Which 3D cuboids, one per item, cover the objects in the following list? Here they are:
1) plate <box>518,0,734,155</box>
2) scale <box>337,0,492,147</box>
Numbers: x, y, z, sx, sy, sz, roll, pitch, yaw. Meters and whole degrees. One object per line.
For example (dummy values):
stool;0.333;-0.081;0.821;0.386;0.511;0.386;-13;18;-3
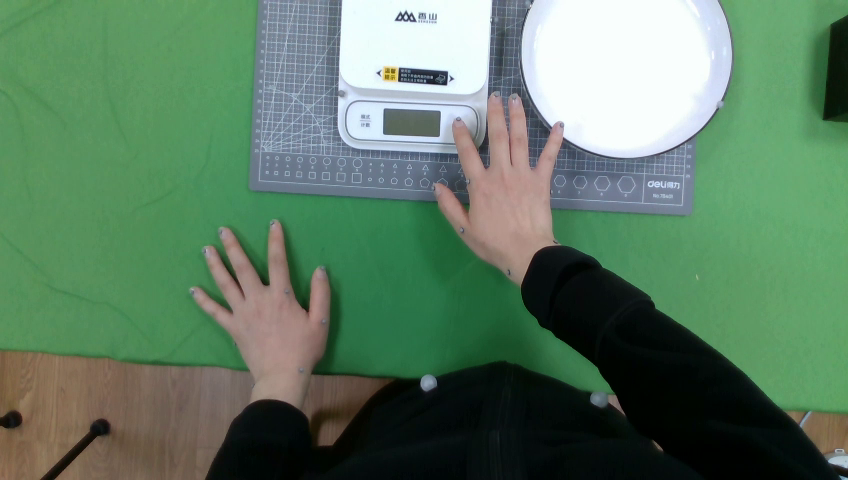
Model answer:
plate;0.195;-0.185;0.598;0.209;0.038;0.209;0;90;-1
scale;-0.009;-0.196;0.599;0.149;0.031;0.201;3;91;0
